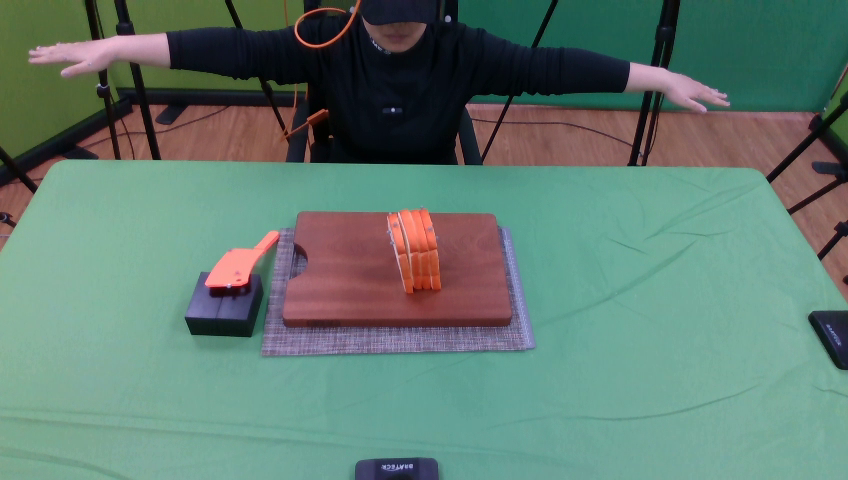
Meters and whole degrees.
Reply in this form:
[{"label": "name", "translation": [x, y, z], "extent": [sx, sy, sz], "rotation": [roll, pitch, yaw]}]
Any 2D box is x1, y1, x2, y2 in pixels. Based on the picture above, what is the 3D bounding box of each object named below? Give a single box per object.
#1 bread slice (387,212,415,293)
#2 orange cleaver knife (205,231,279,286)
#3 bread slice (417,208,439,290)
[{"label": "bread slice", "translation": [-0.043, 0.016, 1.067], "extent": [0.019, 0.132, 0.104], "rotation": [-15, 46, -4]}, {"label": "orange cleaver knife", "translation": [-0.328, 0.031, 1.109], "extent": [0.077, 0.012, 0.210], "rotation": [5, 27, 7]}, {"label": "bread slice", "translation": [0.007, 0.012, 1.073], "extent": [0.018, 0.135, 0.106], "rotation": [-11, 51, -7]}]
